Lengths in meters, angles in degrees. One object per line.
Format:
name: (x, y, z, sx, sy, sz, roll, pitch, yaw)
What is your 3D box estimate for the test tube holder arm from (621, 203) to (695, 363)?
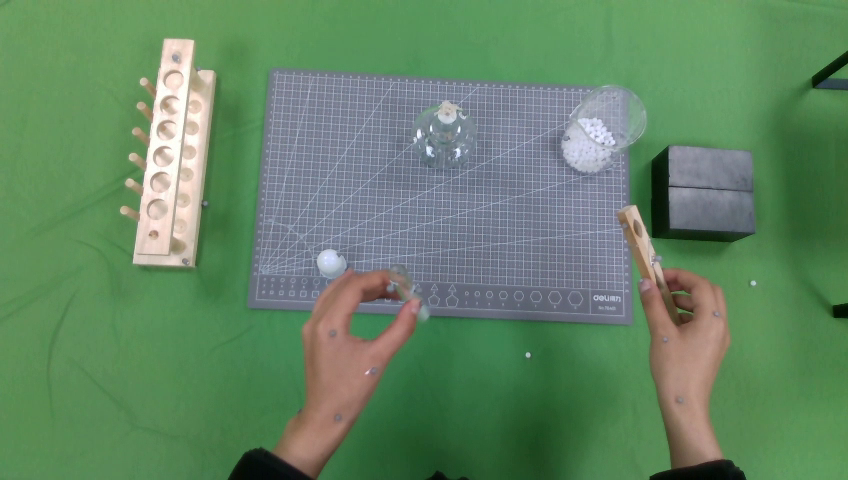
test tube holder arm: (0.232, 0.045, 0.598, 0.013, 0.015, 0.179, -31, 103, -12)

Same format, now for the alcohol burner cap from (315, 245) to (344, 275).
alcohol burner cap: (-0.109, 0.021, 0.690, 0.034, 0.048, 0.033, 1, 79, -4)

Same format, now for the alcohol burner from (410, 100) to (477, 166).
alcohol burner: (0.023, -0.129, 0.689, 0.078, 0.119, 0.077, 0, 79, -1)

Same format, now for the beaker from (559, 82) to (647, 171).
beaker: (0.200, -0.127, 0.705, 0.084, 0.100, 0.073, 1, 78, -1)

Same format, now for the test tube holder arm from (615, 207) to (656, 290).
test tube holder arm: (0.207, 0.008, 0.586, 0.010, 0.015, 0.088, -30, 103, -12)

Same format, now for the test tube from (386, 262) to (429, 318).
test tube: (-0.012, 0.047, 0.528, 0.017, 0.151, 0.017, -2, 71, 7)

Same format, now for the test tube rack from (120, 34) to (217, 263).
test tube rack: (-0.293, -0.101, 0.685, 0.067, 0.085, 0.241, 3, 79, -2)
